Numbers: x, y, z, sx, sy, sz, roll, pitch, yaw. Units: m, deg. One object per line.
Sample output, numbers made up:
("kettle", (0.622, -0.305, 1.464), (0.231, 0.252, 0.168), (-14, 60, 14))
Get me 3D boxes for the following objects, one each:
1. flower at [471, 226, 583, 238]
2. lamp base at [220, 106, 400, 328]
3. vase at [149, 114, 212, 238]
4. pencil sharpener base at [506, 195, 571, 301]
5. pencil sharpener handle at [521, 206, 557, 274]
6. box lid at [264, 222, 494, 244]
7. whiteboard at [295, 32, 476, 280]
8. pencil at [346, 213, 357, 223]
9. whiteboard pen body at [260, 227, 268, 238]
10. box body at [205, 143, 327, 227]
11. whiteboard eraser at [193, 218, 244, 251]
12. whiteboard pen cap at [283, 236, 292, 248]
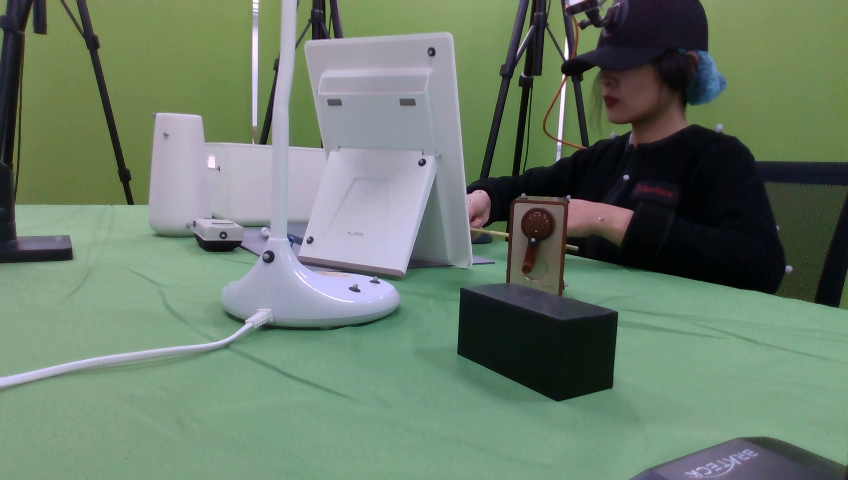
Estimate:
("flower", (0.069, -0.021, 0.942), (0.362, 0.038, 0.044), (5, 41, -2))
("lamp base", (-0.102, -0.023, 0.531), (0.160, 0.180, 0.179), (4, 10, 10))
("vase", (-0.405, -0.106, 1.005), (0.098, 0.200, 0.098), (2, 6, 0))
("pencil sharpener base", (0.126, 0.007, 0.662), (0.061, 0.107, 0.077), (4, 8, 13))
("pencil sharpener handle", (0.112, 0.000, 0.611), (0.036, 0.067, 0.031), (13, 10, 11))
("box lid", (-0.081, -0.014, 1.116), (0.373, 0.015, 0.262), (-2, 9, -32))
("whiteboard", (-0.076, -0.084, 0.747), (0.216, 0.305, 0.144), (7, 28, 29))
("pencil", (-0.161, -0.052, 1.364), (0.012, 0.012, 0.194), (2, 6, -2))
("whiteboard pen body", (-0.239, -0.005, 0.964), (0.017, 0.017, 0.140), (-2, 9, -28))
("box body", (-0.276, -0.122, 1.320), (0.366, 0.160, 0.253), (-2, 9, -30))
("whiteboard eraser", (-0.307, -0.009, 0.900), (0.056, 0.042, 0.112), (-4, 10, -28))
("whiteboard pen cap", (-0.211, 0.003, 0.913), (0.018, 0.018, 0.033), (-2, 6, -28))
